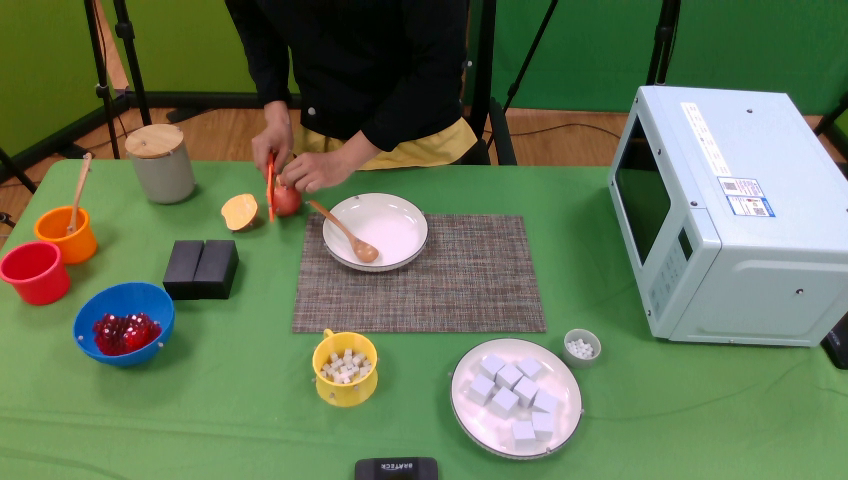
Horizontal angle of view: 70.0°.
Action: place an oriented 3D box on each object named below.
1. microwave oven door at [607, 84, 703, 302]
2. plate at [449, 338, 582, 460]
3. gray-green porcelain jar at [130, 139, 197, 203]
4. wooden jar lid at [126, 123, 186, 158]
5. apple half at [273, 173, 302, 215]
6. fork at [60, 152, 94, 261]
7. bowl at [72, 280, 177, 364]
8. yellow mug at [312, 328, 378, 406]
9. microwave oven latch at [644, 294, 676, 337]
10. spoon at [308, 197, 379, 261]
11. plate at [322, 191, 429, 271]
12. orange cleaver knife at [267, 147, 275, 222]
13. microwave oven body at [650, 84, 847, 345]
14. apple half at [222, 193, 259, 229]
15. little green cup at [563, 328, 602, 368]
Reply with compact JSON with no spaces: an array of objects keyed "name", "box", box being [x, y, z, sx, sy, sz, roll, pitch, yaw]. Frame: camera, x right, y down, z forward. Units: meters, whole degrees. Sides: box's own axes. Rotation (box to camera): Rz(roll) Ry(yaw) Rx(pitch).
[{"name":"microwave oven door","box":[0.423,-0.096,1.137,0.039,0.245,0.353,2,46,-1]},{"name":"plate","box":[0.141,0.251,0.956,0.208,0.039,0.206,2,46,-2]},{"name":"gray-green porcelain jar","box":[-0.522,-0.148,1.225,0.106,0.127,0.105,2,47,-2]},{"name":"wooden jar lid","box":[-0.519,-0.190,1.179,0.108,0.021,0.107,2,44,-2]},{"name":"apple half","box":[-0.274,-0.091,1.226,0.053,0.075,0.080,3,40,-9]},{"name":"fork","box":[-0.638,-0.063,1.119,0.028,0.018,0.207,12,90,9]},{"name":"bowl","box":[-0.473,0.147,0.982,0.151,0.077,0.150,2,46,-2]},{"name":"yellow mug","box":[-0.132,0.193,0.971,0.100,0.064,0.130,-22,51,-22]},{"name":"microwave oven latch","box":[0.411,0.132,1.061,0.030,0.029,0.078,1,46,-2]},{"name":"spoon","box":[-0.159,-0.025,1.172,0.041,0.022,0.193,-41,73,-20]},{"name":"plate","box":[-0.094,-0.015,1.185,0.209,0.038,0.208,2,46,-2]},{"name":"orange cleaver knife","box":[-0.311,-0.117,1.236,0.012,0.077,0.210,-5,39,-9]},{"name":"microwave oven body","box":[0.569,-0.054,1.116,0.326,0.261,0.439,2,46,-1]},{"name":"apple half","box":[-0.358,-0.054,1.207,0.081,0.033,0.081,-6,65,12]},{"name":"little green cup","box":[0.266,0.185,1.025,0.061,0.039,0.061,1,45,-1]}]
